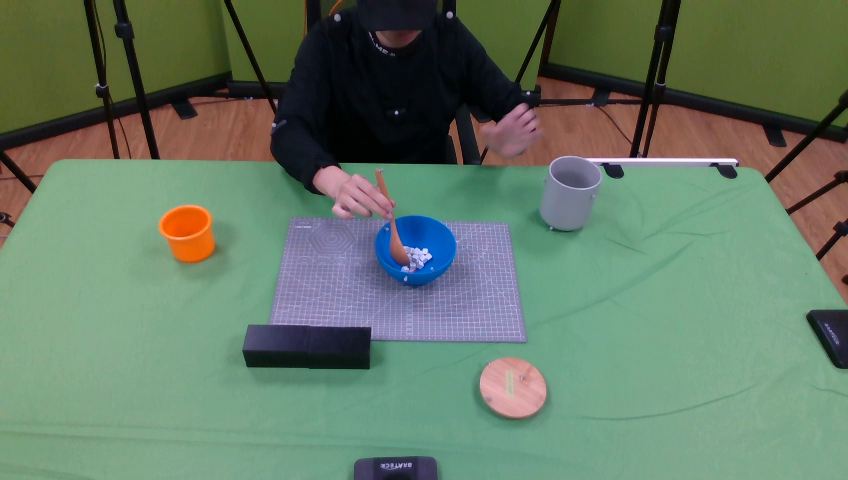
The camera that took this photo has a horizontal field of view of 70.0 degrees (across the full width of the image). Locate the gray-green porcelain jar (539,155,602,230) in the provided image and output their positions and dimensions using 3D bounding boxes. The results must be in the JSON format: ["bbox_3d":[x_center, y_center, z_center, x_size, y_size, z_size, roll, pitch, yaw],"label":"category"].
[{"bbox_3d":[0.294,-0.091,1.235,0.106,0.127,0.105,2,46,-2],"label":"gray-green porcelain jar"}]

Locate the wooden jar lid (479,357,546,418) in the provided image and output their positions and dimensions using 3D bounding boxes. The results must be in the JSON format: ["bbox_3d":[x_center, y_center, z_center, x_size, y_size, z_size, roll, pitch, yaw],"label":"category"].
[{"bbox_3d":[0.142,0.240,0.979,0.108,0.021,0.107,1,46,-1],"label":"wooden jar lid"}]

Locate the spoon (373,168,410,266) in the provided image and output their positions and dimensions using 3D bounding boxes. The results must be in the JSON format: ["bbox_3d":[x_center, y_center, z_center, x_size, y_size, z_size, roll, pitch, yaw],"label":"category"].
[{"bbox_3d":[-0.060,-0.037,1.065,0.041,0.194,0.021,5,28,38],"label":"spoon"}]

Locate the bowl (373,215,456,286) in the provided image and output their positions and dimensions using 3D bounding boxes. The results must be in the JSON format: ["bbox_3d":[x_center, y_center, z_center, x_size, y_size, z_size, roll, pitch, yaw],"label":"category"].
[{"bbox_3d":[-0.019,0.032,1.122,0.151,0.077,0.150,2,46,-2],"label":"bowl"}]
